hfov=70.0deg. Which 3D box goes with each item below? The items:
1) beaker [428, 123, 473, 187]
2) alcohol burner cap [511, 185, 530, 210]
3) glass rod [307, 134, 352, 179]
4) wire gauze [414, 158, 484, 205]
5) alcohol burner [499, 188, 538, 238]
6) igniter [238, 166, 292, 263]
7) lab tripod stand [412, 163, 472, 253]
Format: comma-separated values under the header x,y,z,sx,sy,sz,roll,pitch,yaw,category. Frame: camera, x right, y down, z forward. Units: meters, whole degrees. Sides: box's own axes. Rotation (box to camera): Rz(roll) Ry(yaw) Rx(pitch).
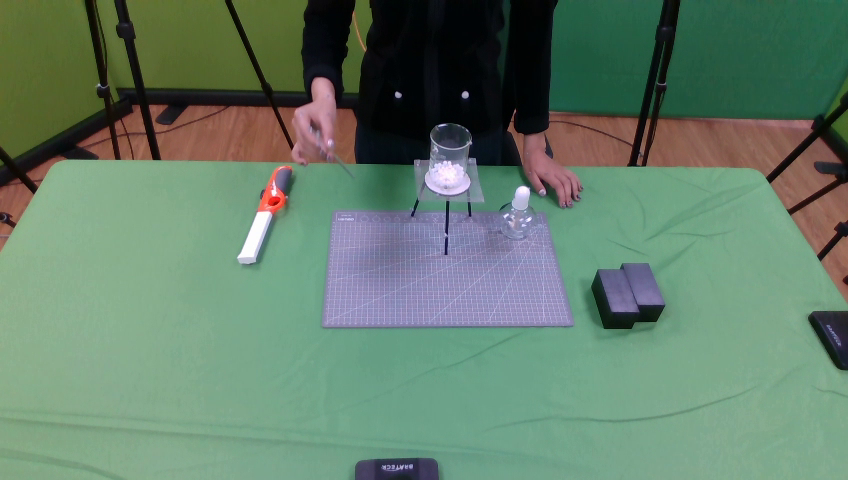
x,y,z,sx,sy,sz,roll,pitch,yaw,category
0.044,-0.154,1.109,0.074,0.101,0.083,-25,54,-25,beaker
0.190,-0.085,1.176,0.034,0.048,0.033,3,50,-3,alcohol burner cap
-0.161,-0.142,1.054,0.008,0.200,0.008,-3,75,12,glass rod
0.045,-0.113,1.137,0.125,0.011,0.120,2,48,-6,wire gauze
0.189,-0.060,1.202,0.078,0.120,0.077,2,48,-1,alcohol burner
-0.318,-0.060,1.229,0.057,0.025,0.275,-2,45,10,igniter
0.043,-0.069,1.187,0.148,0.132,0.147,3,47,-3,lab tripod stand
